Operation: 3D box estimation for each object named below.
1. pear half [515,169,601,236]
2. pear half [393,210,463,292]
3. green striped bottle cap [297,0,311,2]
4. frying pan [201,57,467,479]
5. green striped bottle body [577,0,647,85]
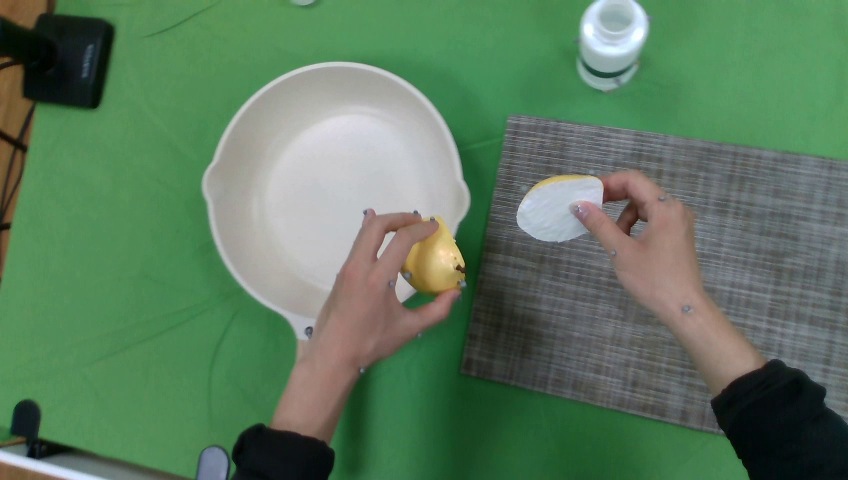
[{"bbox_3d":[0.120,-0.040,0.538,0.071,0.031,0.088,22,135,-23],"label":"pear half"},{"bbox_3d":[0.005,0.017,0.551,0.056,0.109,0.077,-27,105,-11],"label":"pear half"},{"bbox_3d":[-0.149,-0.319,0.749,0.044,0.020,0.044,-1,85,12],"label":"green striped bottle cap"},{"bbox_3d":[-0.113,0.045,0.670,0.306,0.103,0.486,6,78,12],"label":"frying pan"},{"bbox_3d":[0.192,-0.209,0.623,0.063,0.120,0.063,-1,84,11],"label":"green striped bottle body"}]
